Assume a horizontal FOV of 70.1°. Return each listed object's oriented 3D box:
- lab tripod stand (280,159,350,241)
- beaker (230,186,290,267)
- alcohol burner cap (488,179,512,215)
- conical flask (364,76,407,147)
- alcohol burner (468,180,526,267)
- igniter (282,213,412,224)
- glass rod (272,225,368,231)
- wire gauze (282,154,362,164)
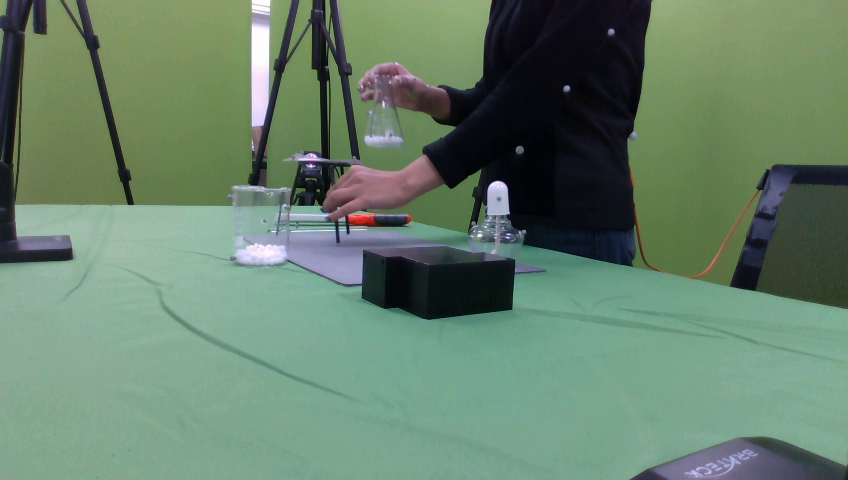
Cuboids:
[{"bbox_3d":[-0.172,-0.071,1.040,0.148,0.131,0.148,4,8,0],"label":"lab tripod stand"},{"bbox_3d":[-0.209,-0.019,0.778,0.074,0.100,0.084,3,6,4],"label":"beaker"},{"bbox_3d":[0.101,-0.058,0.816,0.034,0.048,0.034,-5,9,1],"label":"alcohol burner cap"},{"bbox_3d":[-0.068,-0.226,1.069,0.075,0.122,0.075,0,7,0],"label":"conical flask"},{"bbox_3d":[0.101,-0.022,0.821,0.078,0.119,0.078,4,8,0],"label":"alcohol burner"},{"bbox_3d":[-0.159,-0.046,1.287,0.278,0.025,0.057,-1,-3,-21],"label":"igniter"},{"bbox_3d":[-0.197,-0.023,1.170,0.201,0.008,0.008,-3,8,-34],"label":"glass rod"},{"bbox_3d":[-0.170,-0.137,1.028,0.121,0.011,0.125,4,8,-2],"label":"wire gauze"}]
